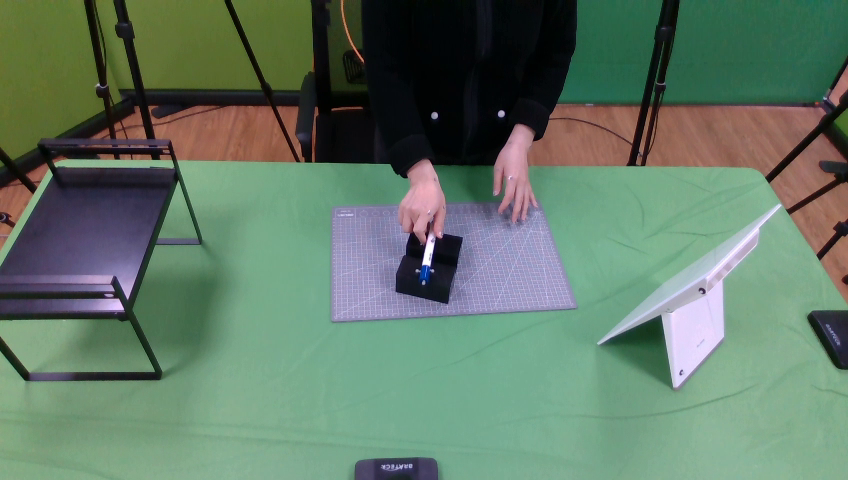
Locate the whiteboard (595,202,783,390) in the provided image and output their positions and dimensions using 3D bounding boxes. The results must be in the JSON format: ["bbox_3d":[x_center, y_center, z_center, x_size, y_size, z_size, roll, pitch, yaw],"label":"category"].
[{"bbox_3d":[0.459,0.112,0.968,0.217,0.306,0.143,-31,74,-29],"label":"whiteboard"}]

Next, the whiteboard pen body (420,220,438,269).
[{"bbox_3d":[0.008,0.016,1.108,0.017,0.017,0.140,10,49,5],"label":"whiteboard pen body"}]

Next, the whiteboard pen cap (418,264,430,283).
[{"bbox_3d":[0.001,0.059,1.069,0.018,0.018,0.033,8,48,4],"label":"whiteboard pen cap"}]
